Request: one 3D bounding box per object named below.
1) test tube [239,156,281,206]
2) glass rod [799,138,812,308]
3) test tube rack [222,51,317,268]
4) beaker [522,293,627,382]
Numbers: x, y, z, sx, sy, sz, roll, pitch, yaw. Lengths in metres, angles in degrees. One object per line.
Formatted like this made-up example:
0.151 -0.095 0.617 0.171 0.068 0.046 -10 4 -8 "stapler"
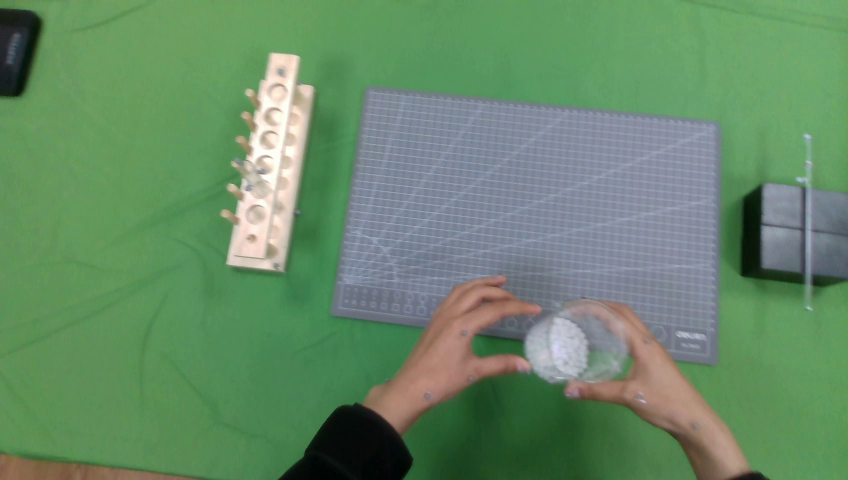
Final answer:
-0.176 -0.060 0.660 0.017 0.150 0.017 1 79 -3 "test tube"
0.427 -0.022 0.678 0.008 0.008 0.199 9 78 4 "glass rod"
-0.188 -0.095 0.720 0.067 0.085 0.241 7 78 4 "test tube rack"
0.137 0.100 0.583 0.084 0.100 0.074 -43 82 -15 "beaker"
